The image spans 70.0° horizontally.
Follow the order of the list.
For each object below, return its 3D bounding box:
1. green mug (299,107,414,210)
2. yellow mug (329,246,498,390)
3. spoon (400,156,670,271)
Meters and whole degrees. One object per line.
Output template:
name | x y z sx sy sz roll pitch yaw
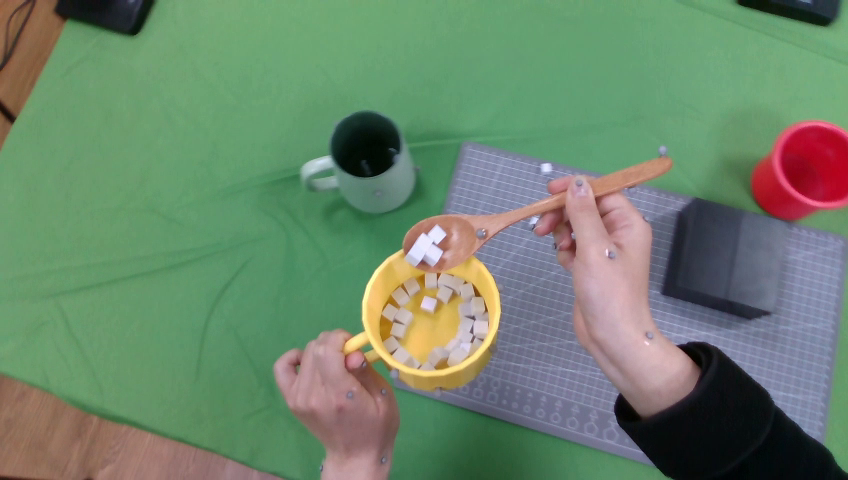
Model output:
green mug | -0.075 -0.083 0.667 0.125 0.105 0.092 -16 77 -2
yellow mug | -0.010 0.064 0.454 0.131 0.064 0.099 -24 68 -6
spoon | 0.076 -0.021 0.421 0.193 0.022 0.041 -19 78 11
